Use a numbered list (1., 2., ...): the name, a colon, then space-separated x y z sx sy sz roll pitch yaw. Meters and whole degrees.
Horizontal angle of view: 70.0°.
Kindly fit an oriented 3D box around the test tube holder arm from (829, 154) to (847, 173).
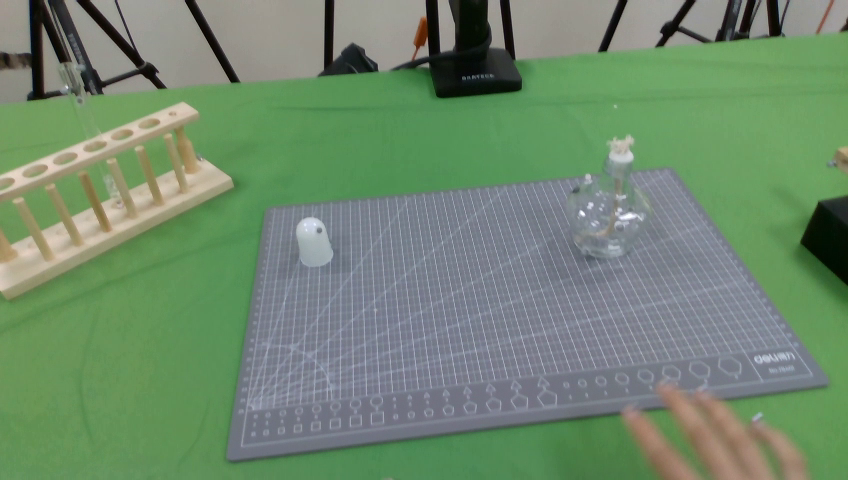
1. test tube holder arm: 0.421 -0.030 0.522 0.015 0.013 0.176 -11 41 -9

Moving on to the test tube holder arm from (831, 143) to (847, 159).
1. test tube holder arm: 0.410 -0.062 0.552 0.015 0.010 0.087 -10 41 -9

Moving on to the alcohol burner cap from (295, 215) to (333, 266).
1. alcohol burner cap: -0.106 -0.002 0.576 0.034 0.048 0.033 -1 41 2

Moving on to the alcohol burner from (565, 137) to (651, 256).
1. alcohol burner: 0.170 -0.044 0.551 0.078 0.120 0.077 -1 43 1

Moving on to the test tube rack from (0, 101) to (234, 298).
1. test tube rack: -0.325 -0.049 0.615 0.242 0.086 0.066 -34 49 -31

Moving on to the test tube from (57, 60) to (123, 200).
1. test tube: -0.328 -0.104 0.602 0.017 0.151 0.017 -1 37 1
